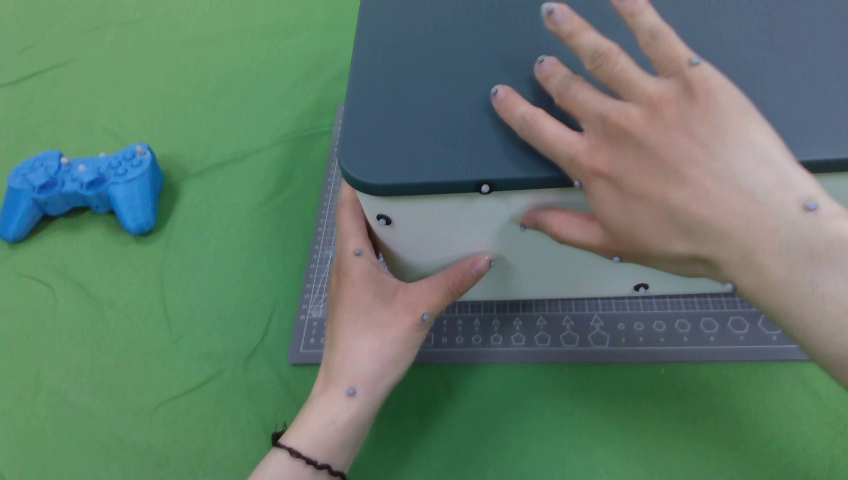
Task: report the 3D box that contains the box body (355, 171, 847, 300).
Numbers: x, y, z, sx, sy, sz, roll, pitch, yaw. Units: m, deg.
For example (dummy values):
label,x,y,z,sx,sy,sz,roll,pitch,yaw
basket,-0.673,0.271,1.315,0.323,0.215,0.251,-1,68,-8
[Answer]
label,x,y,z,sx,sy,sz,roll,pitch,yaw
box body,0.141,-0.095,0.468,0.364,0.162,0.251,-3,53,6

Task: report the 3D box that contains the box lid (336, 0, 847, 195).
label,x,y,z,sx,sy,sz,roll,pitch,yaw
box lid,0.130,-0.139,0.409,0.371,0.015,0.260,-2,54,6

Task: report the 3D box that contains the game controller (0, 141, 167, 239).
label,x,y,z,sx,sy,sz,roll,pitch,yaw
game controller,-0.323,-0.052,0.575,0.155,0.052,0.096,-2,50,6
